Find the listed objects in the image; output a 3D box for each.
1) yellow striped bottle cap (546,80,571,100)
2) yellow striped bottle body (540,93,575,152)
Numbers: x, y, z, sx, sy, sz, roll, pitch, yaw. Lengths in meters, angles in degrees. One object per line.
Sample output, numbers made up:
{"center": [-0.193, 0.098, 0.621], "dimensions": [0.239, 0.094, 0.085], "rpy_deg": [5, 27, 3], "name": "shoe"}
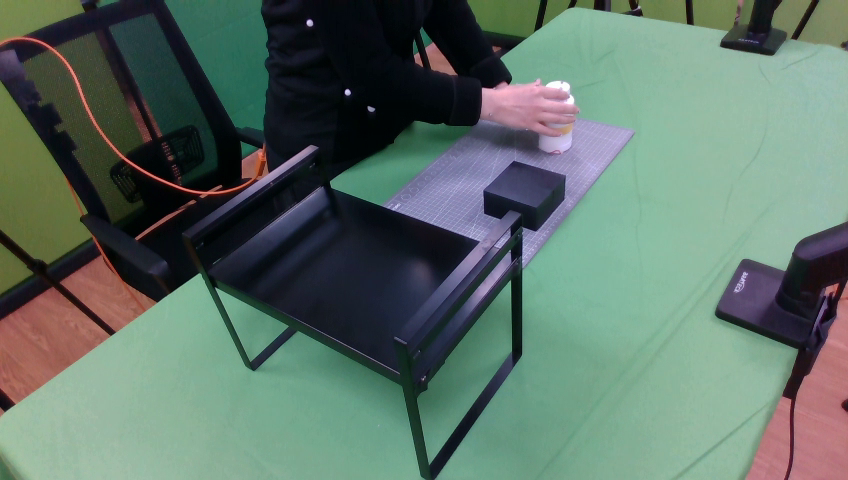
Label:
{"center": [0.243, -0.270, 1.092], "dimensions": [0.044, 0.019, 0.044], "rpy_deg": [-3, 43, 4], "name": "yellow striped bottle cap"}
{"center": [0.249, -0.230, 1.127], "dimensions": [0.063, 0.121, 0.062], "rpy_deg": [-5, 41, 5], "name": "yellow striped bottle body"}
